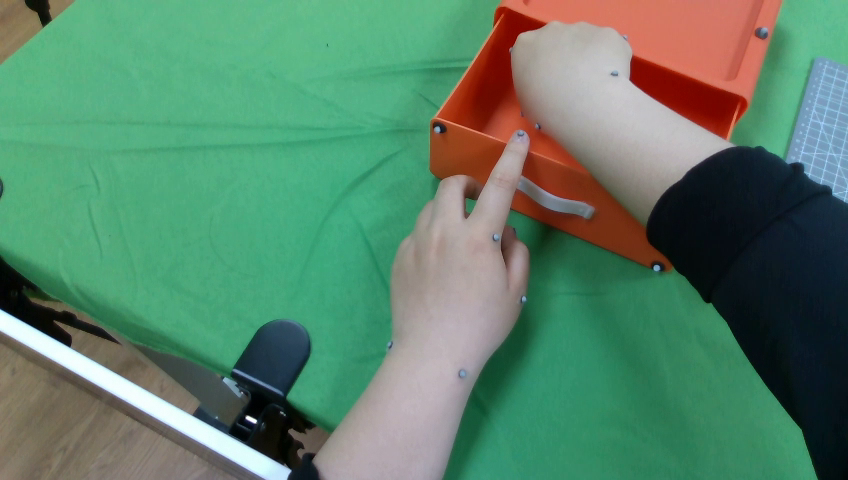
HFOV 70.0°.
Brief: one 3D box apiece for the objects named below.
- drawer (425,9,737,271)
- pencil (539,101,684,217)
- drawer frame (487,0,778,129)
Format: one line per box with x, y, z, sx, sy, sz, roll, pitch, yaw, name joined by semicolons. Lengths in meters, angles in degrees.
0.132;-0.106;0.472;0.194;0.074;0.211;24;62;11;drawer
0.133;-0.079;0.494;0.012;0.012;0.192;-34;64;-18;pencil
0.185;-0.199;0.522;0.201;0.083;0.212;24;62;11;drawer frame
